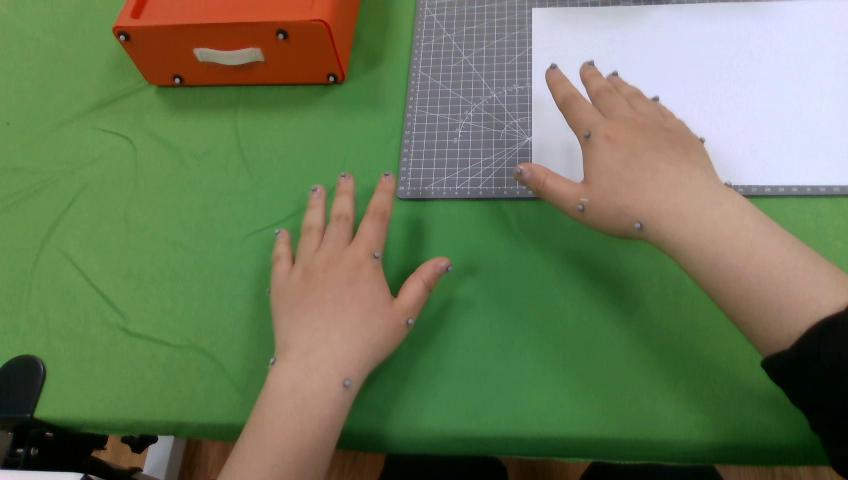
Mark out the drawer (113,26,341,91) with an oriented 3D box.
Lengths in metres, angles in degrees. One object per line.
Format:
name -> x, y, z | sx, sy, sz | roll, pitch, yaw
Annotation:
drawer -> -0.169, -0.247, 0.601 | 0.194, 0.074, 0.210 | 0, 59, 8

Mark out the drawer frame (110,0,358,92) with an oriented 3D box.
drawer frame -> -0.170, -0.250, 0.600 | 0.201, 0.083, 0.211 | 0, 59, 8

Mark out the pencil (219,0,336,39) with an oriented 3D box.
pencil -> -0.164, -0.236, 0.627 | 0.192, 0.012, 0.012 | 26, 66, 26
